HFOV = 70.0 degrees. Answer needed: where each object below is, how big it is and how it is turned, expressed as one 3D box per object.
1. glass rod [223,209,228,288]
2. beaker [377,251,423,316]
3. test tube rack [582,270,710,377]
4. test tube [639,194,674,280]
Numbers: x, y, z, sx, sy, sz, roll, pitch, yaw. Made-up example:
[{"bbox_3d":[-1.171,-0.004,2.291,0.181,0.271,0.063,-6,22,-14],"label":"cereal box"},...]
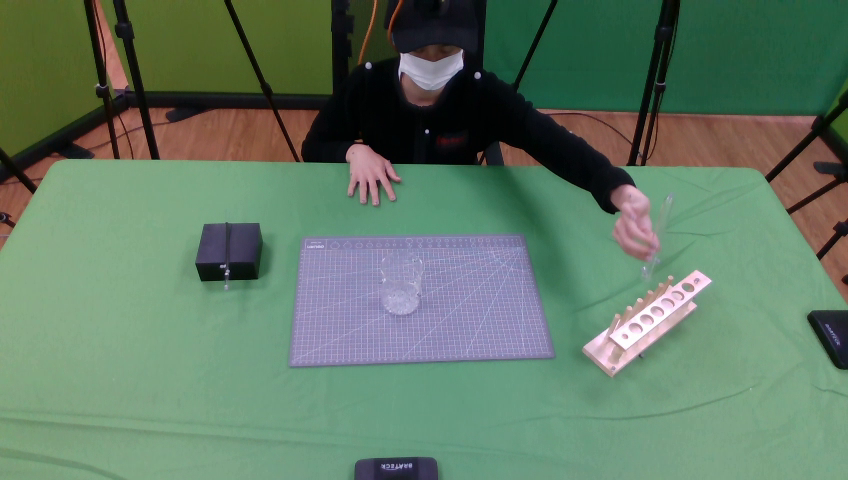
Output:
[{"bbox_3d":[-0.360,0.011,1.098,0.008,0.008,0.198,-7,47,-12],"label":"glass rod"},{"bbox_3d":[-0.040,0.081,1.060,0.074,0.101,0.083,-32,57,-30],"label":"beaker"},{"bbox_3d":[0.389,0.132,1.057,0.242,0.085,0.066,-28,54,-28],"label":"test tube rack"},{"bbox_3d":[0.370,-0.003,0.964,0.017,0.151,0.017,6,26,-3],"label":"test tube"}]
